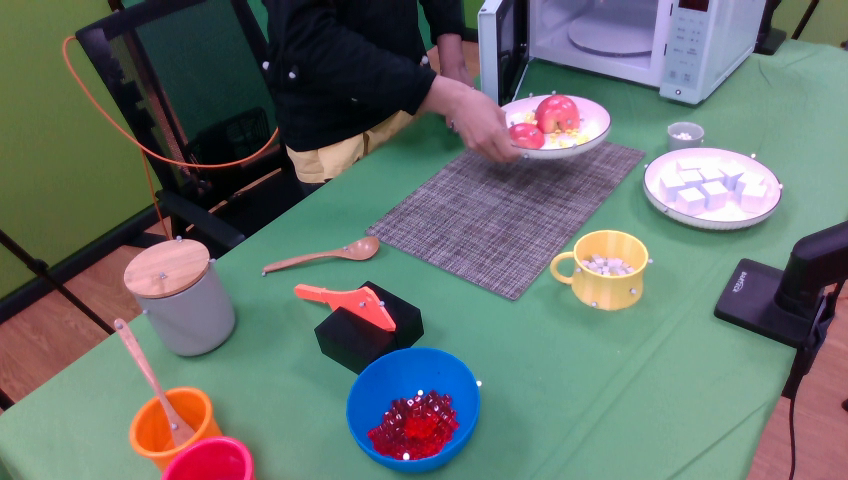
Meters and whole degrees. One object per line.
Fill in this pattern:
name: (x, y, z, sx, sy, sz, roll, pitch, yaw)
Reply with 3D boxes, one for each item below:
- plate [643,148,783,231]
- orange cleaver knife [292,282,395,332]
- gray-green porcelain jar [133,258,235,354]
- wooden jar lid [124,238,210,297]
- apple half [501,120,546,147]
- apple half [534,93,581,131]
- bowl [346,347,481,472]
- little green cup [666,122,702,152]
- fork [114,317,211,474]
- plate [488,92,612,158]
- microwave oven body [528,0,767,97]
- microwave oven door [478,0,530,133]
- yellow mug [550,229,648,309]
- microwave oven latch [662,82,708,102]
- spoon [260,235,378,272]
plate: (0.464, -0.080, 0.986, 0.207, 0.039, 0.206, -4, 40, 4)
orange cleaver knife: (-0.115, 0.091, 0.835, 0.209, 0.077, 0.012, 2, 32, 48)
gray-green porcelain jar: (-0.328, 0.086, 0.836, 0.106, 0.127, 0.105, -4, 41, 4)
wooden jar lid: (-0.335, 0.039, 0.794, 0.108, 0.021, 0.108, -2, 40, 2)
apple half: (0.169, -0.187, 1.029, 0.081, 0.033, 0.081, -2, 37, 2)
apple half: (0.233, -0.228, 1.057, 0.080, 0.053, 0.074, 1, 35, 14)
bowl: (-0.008, 0.205, 0.691, 0.151, 0.077, 0.150, -4, 40, 4)
little green cup: (0.471, -0.184, 1.102, 0.061, 0.039, 0.061, -5, 41, 4)
fork: (-0.309, 0.179, 0.708, 0.028, 0.018, 0.207, -30, 89, -24)
plate: (0.215, -0.194, 1.041, 0.209, 0.038, 0.208, -5, 37, 4)
microwave oven body: (0.473, -0.516, 1.313, 0.438, 0.261, 0.327, 26, 51, 34)
microwave oven door: (0.169, -0.413, 1.229, 0.039, 0.245, 0.355, 7, 43, 16)
yellow mug: (0.245, 0.040, 0.857, 0.130, 0.064, 0.099, 1, 42, 11)
microwave oven latch: (0.518, -0.298, 1.202, 0.078, 0.029, 0.030, 28, 53, 35)
spoon: (-0.167, 0.024, 0.966, 0.194, 0.022, 0.041, -10, 58, -3)
